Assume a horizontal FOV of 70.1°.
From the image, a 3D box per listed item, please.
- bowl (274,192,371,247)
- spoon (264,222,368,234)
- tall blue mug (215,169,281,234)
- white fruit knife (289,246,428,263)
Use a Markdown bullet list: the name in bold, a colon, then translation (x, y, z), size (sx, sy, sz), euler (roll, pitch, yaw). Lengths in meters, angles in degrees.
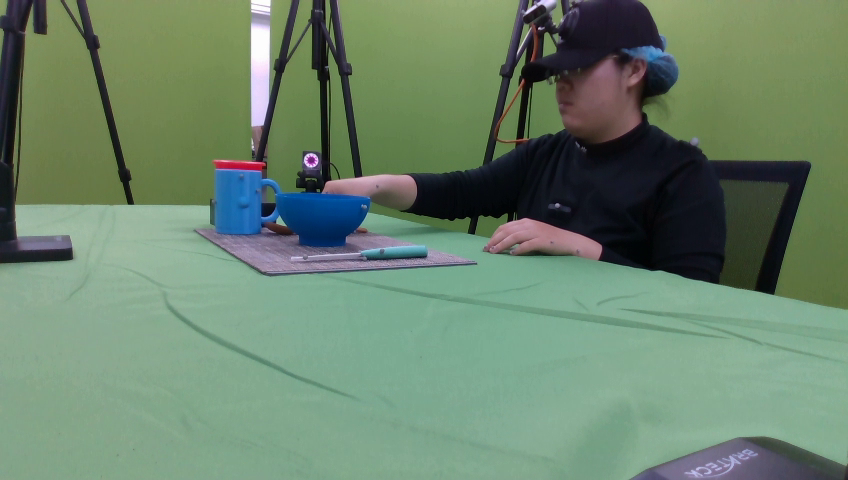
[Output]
- **bowl**: translation (-0.161, -0.033, 0.958), size (0.151, 0.077, 0.151), euler (3, 7, 0)
- **spoon**: translation (-0.191, -0.023, 1.090), size (0.195, 0.021, 0.041), euler (-2, -8, -30)
- **tall blue mug**: translation (-0.313, -0.069, 1.061), size (0.077, 0.108, 0.108), euler (6, 8, 31)
- **white fruit knife**: translation (-0.082, 0.022, 0.822), size (0.208, 0.016, 0.027), euler (-3, -20, -30)
